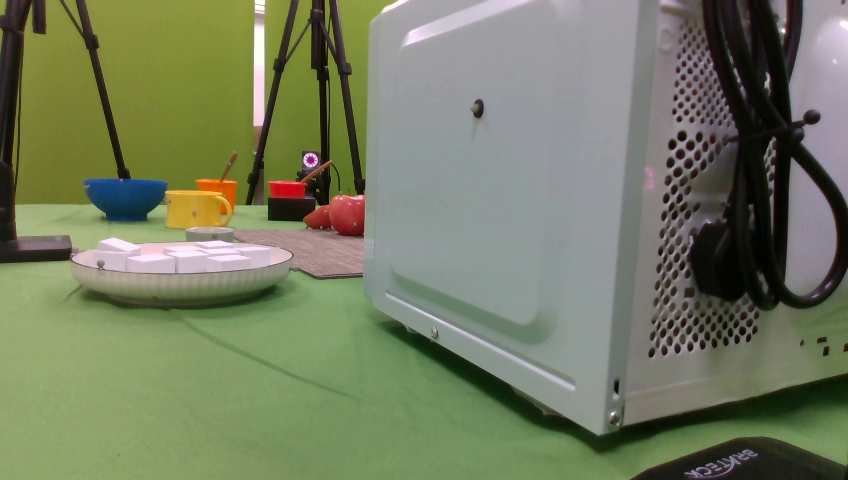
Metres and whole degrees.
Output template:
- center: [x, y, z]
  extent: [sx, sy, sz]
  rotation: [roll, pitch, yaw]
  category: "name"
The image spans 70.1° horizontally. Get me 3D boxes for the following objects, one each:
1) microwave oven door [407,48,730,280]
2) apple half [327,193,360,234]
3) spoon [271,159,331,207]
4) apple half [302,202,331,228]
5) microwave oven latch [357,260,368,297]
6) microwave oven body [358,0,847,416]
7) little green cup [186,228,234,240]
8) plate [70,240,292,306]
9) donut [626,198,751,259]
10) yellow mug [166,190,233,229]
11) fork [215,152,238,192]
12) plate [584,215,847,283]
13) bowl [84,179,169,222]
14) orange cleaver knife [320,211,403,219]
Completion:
- center: [0.163, -0.080, 0.681]
  extent: [0.357, 0.243, 0.039]
  rotation: [1, 8, -7]
  category: "microwave oven door"
- center: [-0.132, -0.047, 1.087]
  extent: [0.081, 0.074, 0.053]
  rotation: [5, 10, -13]
  category: "apple half"
- center: [-0.308, -0.142, 1.514]
  extent: [0.193, 0.021, 0.041]
  rotation: [-41, 3, 8]
  category: "spoon"
- center: [-0.192, -0.043, 1.169]
  extent: [0.081, 0.032, 0.081]
  rotation: [-23, -12, -5]
  category: "apple half"
- center: [-0.019, 0.033, 0.530]
  extent: [0.079, 0.029, 0.030]
  rotation: [0, 7, -26]
  category: "microwave oven latch"
- center: [0.211, -0.047, 0.475]
  extent: [0.444, 0.260, 0.324]
  rotation: [-1, 8, -28]
  category: "microwave oven body"
- center: [-0.284, 0.005, 0.805]
  extent: [0.061, 0.038, 0.061]
  rotation: [2, 8, 0]
  category: "little green cup"
- center: [-0.241, 0.032, 0.618]
  extent: [0.208, 0.039, 0.207]
  rotation: [2, 8, 0]
  category: "plate"
- center: [0.225, -0.009, 0.519]
  extent: [0.099, 0.048, 0.099]
  rotation: [9, 4, 0]
  category: "donut"
- center: [-0.415, -0.057, 1.132]
  extent: [0.130, 0.064, 0.100]
  rotation: [6, 8, 16]
  category: "yellow mug"
- center: [-0.455, -0.132, 1.367]
  extent: [0.028, 0.018, 0.207]
  rotation: [-2, -35, -37]
  category: "fork"
- center: [0.242, 0.004, 0.512]
  extent: [0.209, 0.038, 0.209]
  rotation: [-1, 7, 0]
  category: "plate"
- center: [-0.584, -0.078, 1.194]
  extent: [0.151, 0.077, 0.151]
  rotation: [3, 8, 0]
  category: "bowl"
- center: [-0.142, -0.057, 1.395]
  extent: [0.077, 0.012, 0.212]
  rotation: [2, 7, 44]
  category: "orange cleaver knife"
